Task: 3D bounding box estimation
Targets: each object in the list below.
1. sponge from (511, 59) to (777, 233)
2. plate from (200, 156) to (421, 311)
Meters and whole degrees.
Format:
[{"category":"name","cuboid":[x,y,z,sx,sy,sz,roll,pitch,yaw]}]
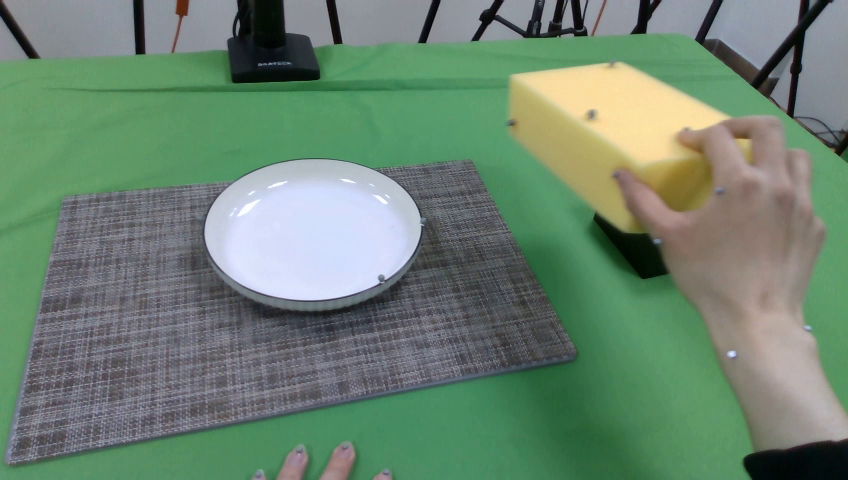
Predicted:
[{"category":"sponge","cuboid":[0.171,-0.091,0.519,0.118,0.061,0.204,-11,35,-15]},{"category":"plate","cuboid":[-0.108,-0.007,0.595,0.208,0.039,0.205,4,43,-4]}]
